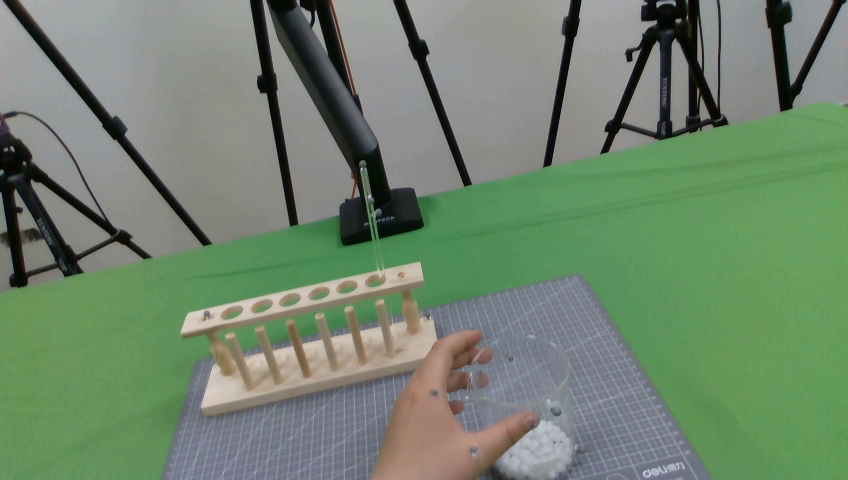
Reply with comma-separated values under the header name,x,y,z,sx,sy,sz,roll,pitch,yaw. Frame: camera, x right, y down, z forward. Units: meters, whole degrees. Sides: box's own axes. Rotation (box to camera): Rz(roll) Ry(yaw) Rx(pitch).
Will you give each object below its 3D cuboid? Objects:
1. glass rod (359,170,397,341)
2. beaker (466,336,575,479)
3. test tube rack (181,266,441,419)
name,x,y,z,sx,sy,sz,roll,pitch,yaw
glass rod,-0.043,0.022,0.590,0.008,0.201,0.008,-6,32,4
beaker,0.077,0.138,0.472,0.084,0.101,0.073,-23,32,-16
test tube rack,-0.112,0.103,0.613,0.242,0.086,0.066,-12,31,0
